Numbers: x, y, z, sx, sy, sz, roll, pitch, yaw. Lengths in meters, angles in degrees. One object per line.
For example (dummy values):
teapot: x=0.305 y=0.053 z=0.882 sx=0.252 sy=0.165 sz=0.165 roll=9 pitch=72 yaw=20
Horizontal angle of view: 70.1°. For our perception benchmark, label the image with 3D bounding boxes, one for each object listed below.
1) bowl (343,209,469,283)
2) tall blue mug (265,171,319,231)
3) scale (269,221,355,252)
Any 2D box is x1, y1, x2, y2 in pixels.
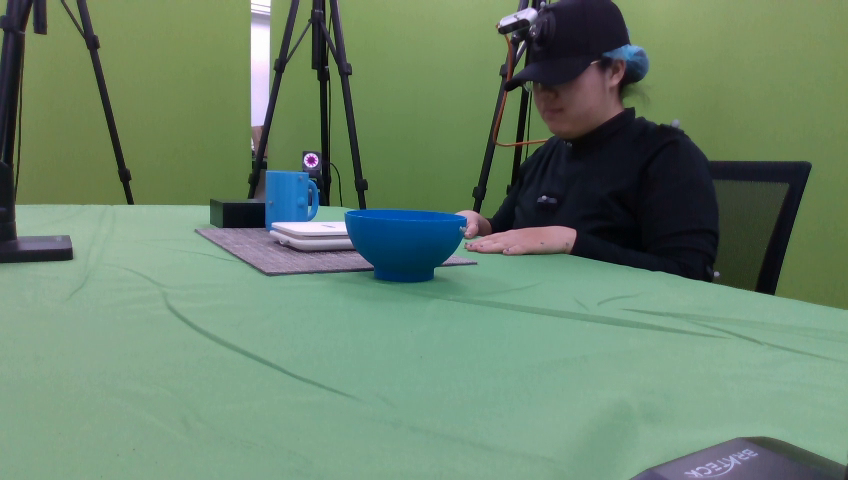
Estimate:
bowl: x=-0.023 y=0.007 z=0.731 sx=0.151 sy=0.077 sz=0.151 roll=3 pitch=7 yaw=0
tall blue mug: x=-0.248 y=-0.073 z=1.121 sx=0.078 sy=0.108 sz=0.107 roll=3 pitch=8 yaw=8
scale: x=-0.130 y=-0.008 z=0.959 sx=0.202 sy=0.031 sz=0.148 roll=-1 pitch=9 yaw=-32
